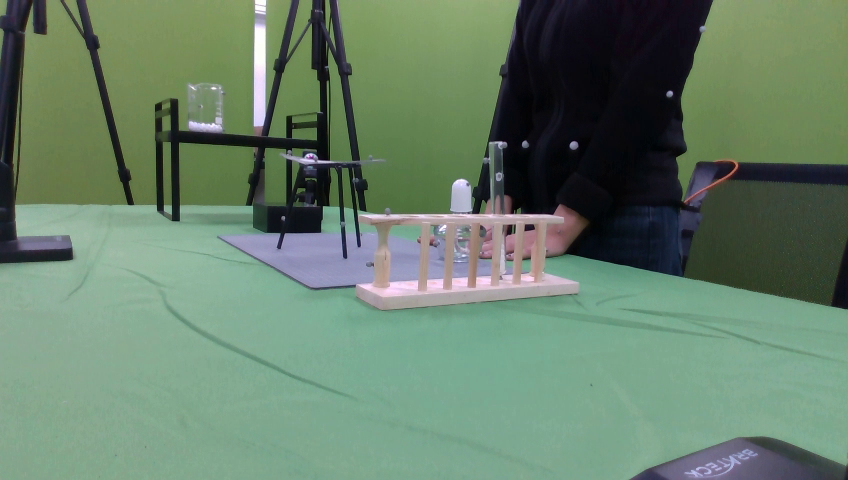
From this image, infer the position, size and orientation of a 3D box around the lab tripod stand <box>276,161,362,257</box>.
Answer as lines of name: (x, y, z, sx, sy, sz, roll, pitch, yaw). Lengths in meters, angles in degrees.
lab tripod stand: (-0.143, -0.049, 0.884, 0.148, 0.131, 0.148, 2, 9, 0)

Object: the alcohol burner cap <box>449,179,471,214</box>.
alcohol burner cap: (0.052, -0.063, 0.858, 0.034, 0.048, 0.034, 3, 13, 0)

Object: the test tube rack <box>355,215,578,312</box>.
test tube rack: (0.053, 0.018, 0.641, 0.243, 0.085, 0.066, -1, 9, -29)

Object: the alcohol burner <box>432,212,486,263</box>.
alcohol burner: (0.051, -0.027, 0.863, 0.078, 0.119, 0.078, 1, 6, 0)

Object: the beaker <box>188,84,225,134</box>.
beaker: (-0.459, -0.274, 1.271, 0.074, 0.100, 0.084, 3, 8, 7)

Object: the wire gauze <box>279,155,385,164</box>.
wire gauze: (-0.134, -0.114, 0.875, 0.122, 0.011, 0.124, -2, 9, -30)

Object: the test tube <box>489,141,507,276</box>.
test tube: (0.082, -0.034, 0.670, 0.017, 0.150, 0.017, -3, 7, 1)
